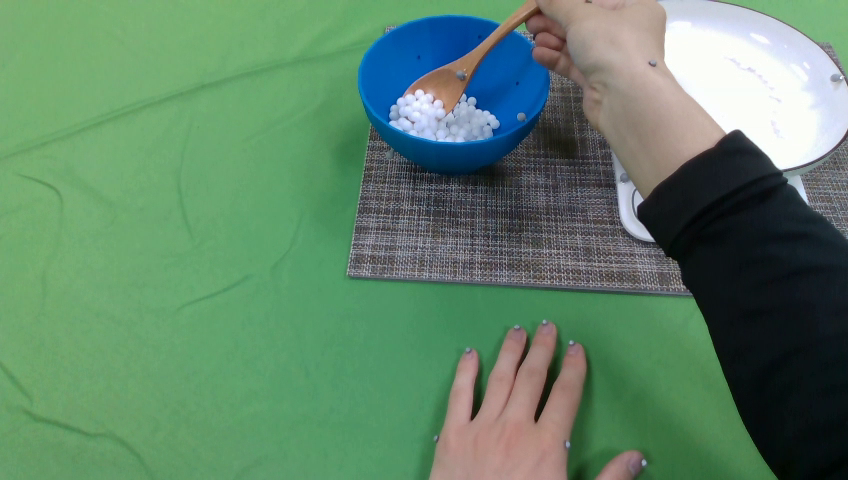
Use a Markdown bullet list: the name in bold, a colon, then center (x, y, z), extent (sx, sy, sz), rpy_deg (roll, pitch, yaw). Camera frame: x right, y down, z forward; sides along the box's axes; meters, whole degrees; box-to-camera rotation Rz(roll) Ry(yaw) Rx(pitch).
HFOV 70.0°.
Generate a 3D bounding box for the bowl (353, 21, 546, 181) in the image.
- **bowl**: center (0.020, -0.103, 0.502), extent (0.151, 0.077, 0.150), rpy_deg (0, 55, 0)

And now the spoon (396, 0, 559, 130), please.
- **spoon**: center (0.055, -0.148, 0.455), extent (0.194, 0.022, 0.041), rpy_deg (-36, 70, 25)

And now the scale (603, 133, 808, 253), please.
- **scale**: center (0.230, -0.080, 0.515), extent (0.148, 0.032, 0.199), rpy_deg (2, 56, 2)

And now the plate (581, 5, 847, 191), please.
- **plate**: center (0.231, -0.117, 0.501), extent (0.209, 0.038, 0.207), rpy_deg (1, 56, -1)
